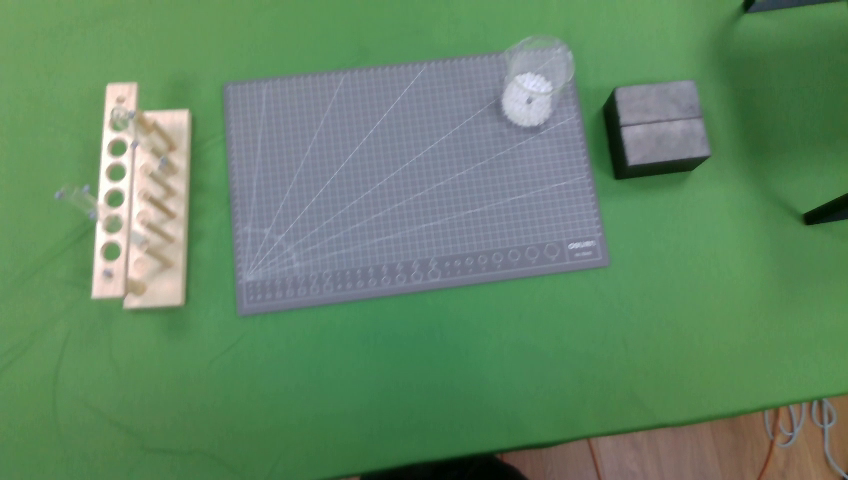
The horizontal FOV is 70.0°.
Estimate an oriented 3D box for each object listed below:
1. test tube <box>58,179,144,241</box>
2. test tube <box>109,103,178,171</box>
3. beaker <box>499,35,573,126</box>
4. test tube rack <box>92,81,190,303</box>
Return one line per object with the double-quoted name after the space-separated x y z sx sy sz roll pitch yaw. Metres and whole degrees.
-0.338 -0.028 0.645 0.017 0.151 0.017 0 71 1 "test tube"
-0.307 -0.110 0.668 0.017 0.151 0.017 0 75 -1 "test tube"
0.128 -0.188 0.732 0.084 0.100 0.074 24 77 6 "beaker"
-0.322 -0.054 0.701 0.067 0.085 0.241 -3 77 -2 "test tube rack"
